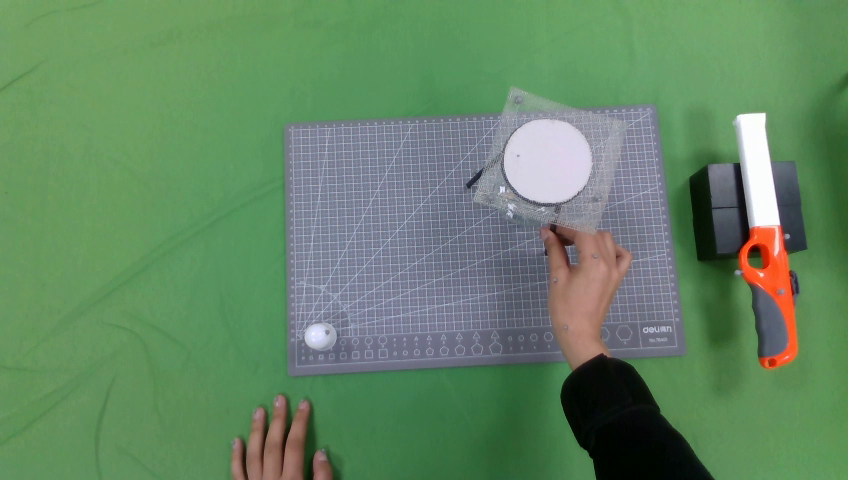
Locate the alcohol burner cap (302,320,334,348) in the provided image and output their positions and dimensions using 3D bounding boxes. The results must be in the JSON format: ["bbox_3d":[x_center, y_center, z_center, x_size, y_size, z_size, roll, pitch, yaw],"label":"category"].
[{"bbox_3d":[-0.119,0.103,0.668,0.034,0.048,0.033,0,80,-1],"label":"alcohol burner cap"}]

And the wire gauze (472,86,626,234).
[{"bbox_3d":[0.123,-0.078,0.585,0.121,0.011,0.124,19,80,3],"label":"wire gauze"}]

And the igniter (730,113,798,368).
[{"bbox_3d":[0.362,-0.003,0.651,0.057,0.025,0.275,-3,80,5],"label":"igniter"}]

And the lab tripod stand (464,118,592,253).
[{"bbox_3d":[0.120,-0.069,0.651,0.148,0.132,0.147,0,78,0],"label":"lab tripod stand"}]

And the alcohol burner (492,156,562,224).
[{"bbox_3d":[0.114,-0.058,0.660,0.078,0.119,0.077,0,82,1],"label":"alcohol burner"}]
